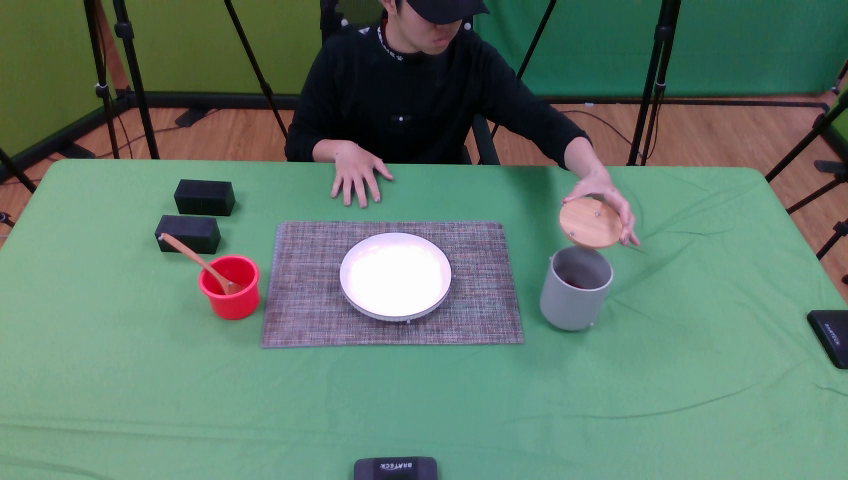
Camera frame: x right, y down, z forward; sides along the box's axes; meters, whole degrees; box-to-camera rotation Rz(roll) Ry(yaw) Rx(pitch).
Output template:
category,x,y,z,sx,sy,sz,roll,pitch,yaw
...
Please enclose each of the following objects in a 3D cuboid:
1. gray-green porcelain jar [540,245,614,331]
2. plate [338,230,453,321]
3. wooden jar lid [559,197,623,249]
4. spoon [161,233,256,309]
category,x,y,z,sx,sy,sz,roll,pitch,yaw
gray-green porcelain jar,0.262,0.088,1.058,0.106,0.127,0.105,2,46,-2
plate,-0.052,0.068,1.111,0.208,0.039,0.206,2,46,-2
wooden jar lid,0.280,-0.027,1.025,0.108,0.021,0.107,3,52,-3
spoon,-0.366,0.051,1.036,0.194,0.021,0.041,47,45,-21
